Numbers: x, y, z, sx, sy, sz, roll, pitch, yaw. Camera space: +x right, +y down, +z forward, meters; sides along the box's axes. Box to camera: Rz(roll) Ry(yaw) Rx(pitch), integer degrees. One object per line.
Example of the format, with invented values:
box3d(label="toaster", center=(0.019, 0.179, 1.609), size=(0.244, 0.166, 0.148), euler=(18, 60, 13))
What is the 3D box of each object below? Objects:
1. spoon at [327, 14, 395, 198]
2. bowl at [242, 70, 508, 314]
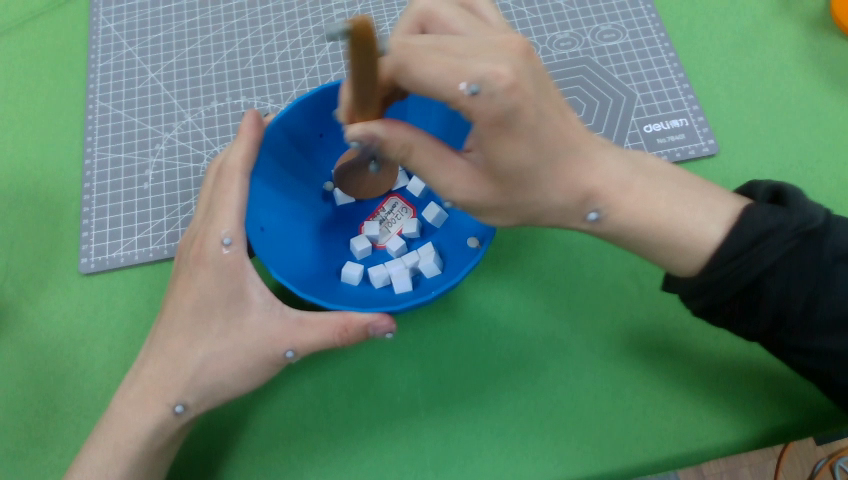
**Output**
box3d(label="spoon", center=(-0.031, -0.053, 0.299), size=(0.042, 0.194, 0.021), euler=(-7, 82, -7))
box3d(label="bowl", center=(-0.027, -0.020, 0.377), size=(0.151, 0.077, 0.150), euler=(0, 70, 1))
